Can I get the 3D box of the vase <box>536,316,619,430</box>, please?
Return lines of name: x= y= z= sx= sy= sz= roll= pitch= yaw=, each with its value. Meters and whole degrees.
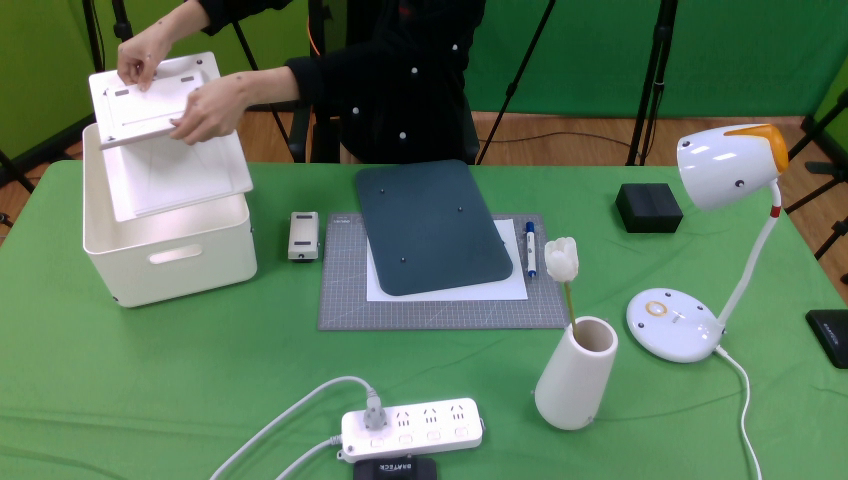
vase: x=0.229 y=0.200 z=0.901 sx=0.098 sy=0.201 sz=0.097 roll=3 pitch=46 yaw=-3

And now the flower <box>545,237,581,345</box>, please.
flower: x=0.213 y=0.137 z=0.846 sx=0.038 sy=0.364 sz=0.044 roll=21 pitch=55 yaw=40

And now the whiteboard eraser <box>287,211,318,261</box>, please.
whiteboard eraser: x=-0.234 y=-0.007 z=1.173 sx=0.055 sy=0.042 sz=0.112 roll=-3 pitch=47 yaw=-4

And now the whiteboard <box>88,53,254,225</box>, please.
whiteboard: x=-0.431 y=-0.211 z=0.977 sx=0.217 sy=0.144 sz=0.304 roll=-17 pitch=69 yaw=-13

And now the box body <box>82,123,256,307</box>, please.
box body: x=-0.471 y=-0.071 z=1.131 sx=0.254 sy=0.161 sz=0.361 roll=-14 pitch=49 yaw=-17

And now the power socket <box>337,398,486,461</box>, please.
power socket: x=-0.018 y=0.285 z=0.914 sx=0.227 sy=0.033 sz=0.071 roll=-4 pitch=46 yaw=-8

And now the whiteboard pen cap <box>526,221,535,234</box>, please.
whiteboard pen cap: x=0.216 y=-0.022 z=1.234 sx=0.018 sy=0.018 sz=0.033 roll=6 pitch=44 yaw=1

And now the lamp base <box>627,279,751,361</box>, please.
lamp base: x=0.460 y=0.100 z=1.027 sx=0.178 sy=0.181 sz=0.160 roll=27 pitch=51 yaw=17

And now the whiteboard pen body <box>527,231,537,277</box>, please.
whiteboard pen body: x=0.211 y=0.018 z=1.191 sx=0.017 sy=0.017 sz=0.140 roll=6 pitch=44 yaw=1

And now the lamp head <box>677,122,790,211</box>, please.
lamp head: x=0.423 y=-0.104 z=0.819 sx=0.122 sy=0.113 sz=0.112 roll=-13 pitch=33 yaw=40

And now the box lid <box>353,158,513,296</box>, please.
box lid: x=0.008 y=-0.039 z=1.242 sx=0.264 sy=0.015 sz=0.369 roll=-8 pitch=47 yaw=-12

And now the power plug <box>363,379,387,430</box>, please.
power plug: x=-0.071 y=0.252 z=0.911 sx=0.035 sy=0.053 sz=0.072 roll=3 pitch=40 yaw=0
